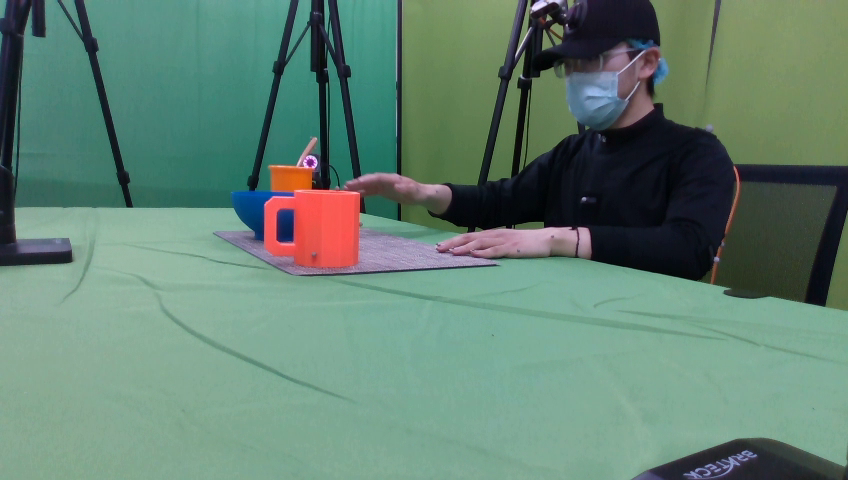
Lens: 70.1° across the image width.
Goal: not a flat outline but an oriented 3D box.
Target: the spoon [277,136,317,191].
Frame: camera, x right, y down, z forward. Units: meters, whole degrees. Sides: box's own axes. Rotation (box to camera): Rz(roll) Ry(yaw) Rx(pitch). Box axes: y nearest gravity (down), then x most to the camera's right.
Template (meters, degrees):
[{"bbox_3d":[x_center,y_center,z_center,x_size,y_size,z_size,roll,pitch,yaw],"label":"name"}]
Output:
[{"bbox_3d":[-0.258,-0.152,1.247,0.041,0.193,0.022,3,-37,21],"label":"spoon"}]

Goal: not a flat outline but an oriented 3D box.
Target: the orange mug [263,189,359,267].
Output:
[{"bbox_3d":[-0.147,-0.019,0.795,0.127,0.100,0.083,4,6,-19],"label":"orange mug"}]

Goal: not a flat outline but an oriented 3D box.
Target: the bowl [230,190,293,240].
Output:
[{"bbox_3d":[-0.249,-0.042,1.023,0.151,0.077,0.151,2,7,0],"label":"bowl"}]
